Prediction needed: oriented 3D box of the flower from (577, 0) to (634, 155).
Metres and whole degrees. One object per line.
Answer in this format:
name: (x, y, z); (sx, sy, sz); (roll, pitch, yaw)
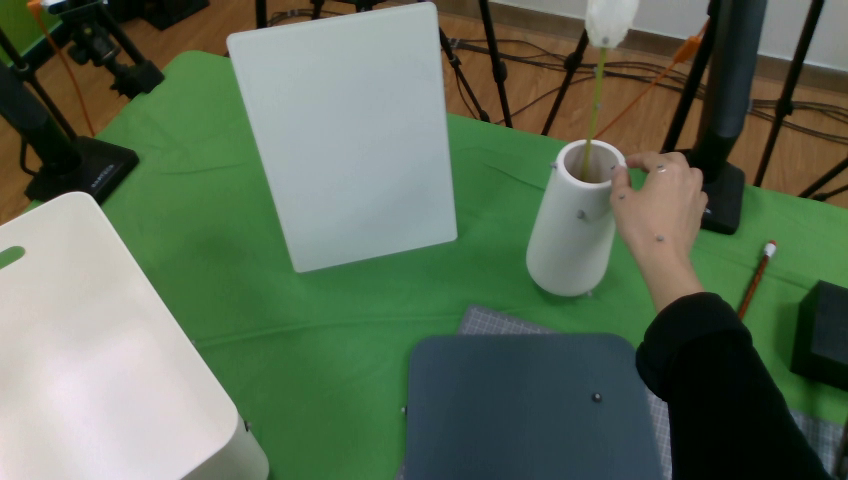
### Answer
flower: (0.162, -0.085, 0.632); (0.044, 0.365, 0.038); (11, 39, 14)

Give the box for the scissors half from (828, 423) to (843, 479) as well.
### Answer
scissors half: (0.439, 0.162, 0.622); (0.012, 0.040, 0.174); (12, 73, 38)

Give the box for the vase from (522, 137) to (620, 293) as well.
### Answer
vase: (0.167, -0.024, 0.691); (0.098, 0.202, 0.097); (-1, 53, 2)

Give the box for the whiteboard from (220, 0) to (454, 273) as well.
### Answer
whiteboard: (-0.095, -0.141, 0.756); (0.217, 0.308, 0.142); (-12, 36, -6)

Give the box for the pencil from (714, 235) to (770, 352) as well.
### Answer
pencil: (0.388, 0.062, 0.737); (0.012, 0.012, 0.193); (28, 61, 21)

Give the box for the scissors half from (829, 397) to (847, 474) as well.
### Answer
scissors half: (0.431, 0.151, 0.607); (0.012, 0.040, 0.174); (15, 57, 33)

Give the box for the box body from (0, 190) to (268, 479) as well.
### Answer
box body: (-0.355, 0.158, 0.600); (0.254, 0.162, 0.360); (-36, 61, -21)

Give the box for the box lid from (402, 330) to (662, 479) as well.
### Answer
box lid: (0.108, 0.254, 0.606); (0.263, 0.015, 0.368); (-1, 55, 1)
